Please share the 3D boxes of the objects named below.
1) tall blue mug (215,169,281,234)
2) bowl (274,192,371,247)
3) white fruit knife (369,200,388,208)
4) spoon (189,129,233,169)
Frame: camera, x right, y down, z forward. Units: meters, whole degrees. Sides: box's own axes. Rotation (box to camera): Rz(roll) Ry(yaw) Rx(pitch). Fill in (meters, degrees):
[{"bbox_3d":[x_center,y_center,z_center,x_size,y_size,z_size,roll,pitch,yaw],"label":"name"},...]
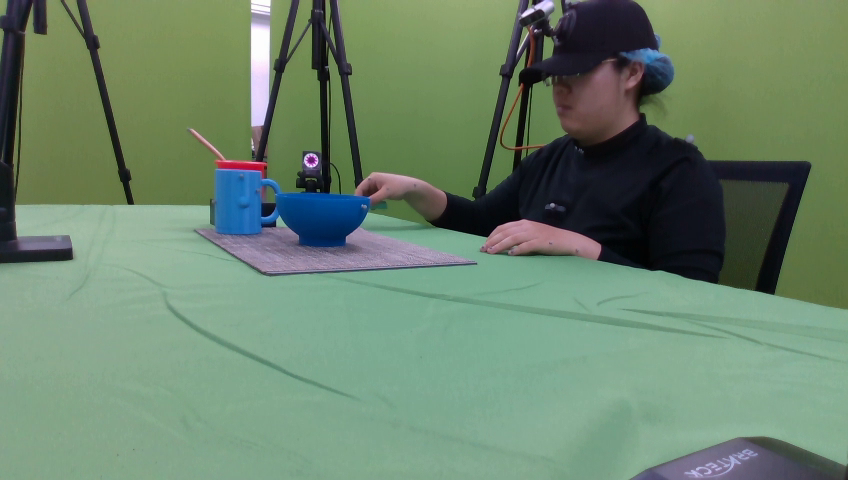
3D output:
[{"bbox_3d":[-0.313,-0.069,1.061,0.077,0.108,0.108,6,8,31],"label":"tall blue mug"},{"bbox_3d":[-0.161,-0.033,0.958,0.151,0.077,0.151,3,7,0],"label":"bowl"},{"bbox_3d":[-0.161,-0.074,1.238,0.208,0.016,0.027,-1,-18,-35],"label":"white fruit knife"},{"bbox_3d":[-0.388,-0.150,1.174,0.193,0.021,0.042,49,20,7],"label":"spoon"}]
